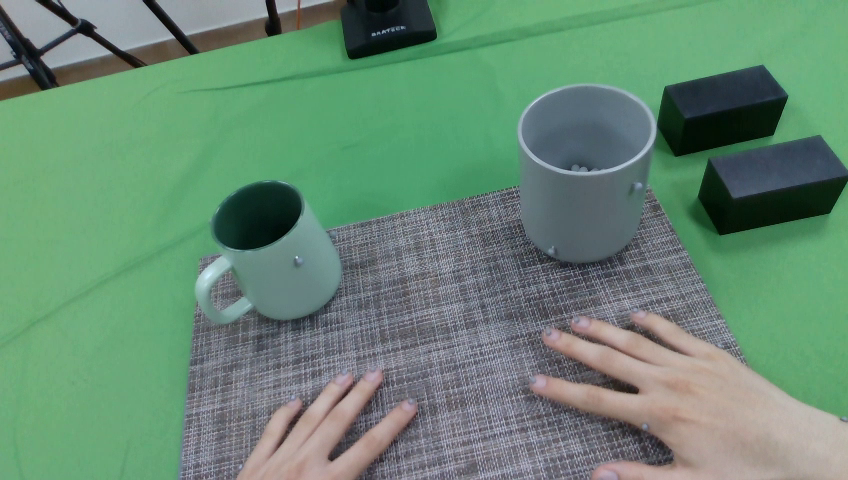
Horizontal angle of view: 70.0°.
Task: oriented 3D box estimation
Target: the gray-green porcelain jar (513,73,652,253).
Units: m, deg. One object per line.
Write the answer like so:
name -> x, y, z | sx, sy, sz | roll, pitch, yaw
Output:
gray-green porcelain jar -> 0.131, -0.059, 0.517 | 0.106, 0.128, 0.105 | -5, 53, 7

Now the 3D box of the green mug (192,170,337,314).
green mug -> -0.142, 0.013, 0.528 | 0.091, 0.106, 0.125 | 32, 65, 29
